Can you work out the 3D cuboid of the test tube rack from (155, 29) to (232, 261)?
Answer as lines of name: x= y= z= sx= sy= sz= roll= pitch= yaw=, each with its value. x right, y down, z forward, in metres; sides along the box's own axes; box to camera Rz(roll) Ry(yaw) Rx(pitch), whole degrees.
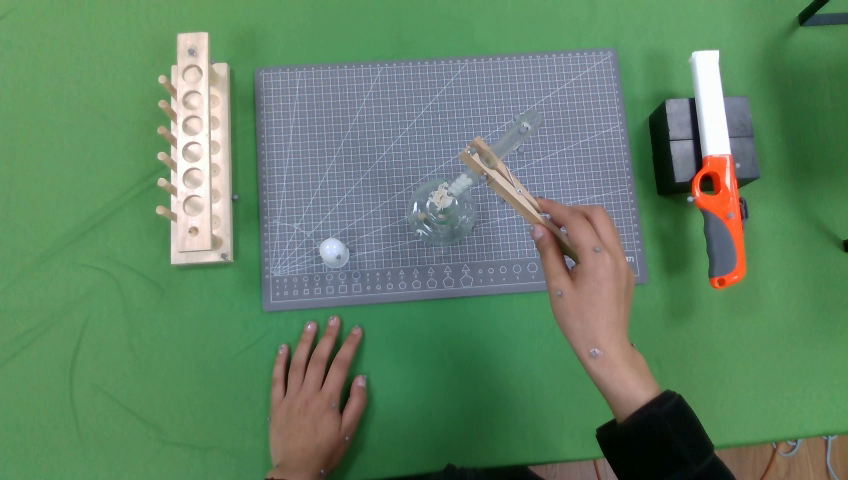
test tube rack: x=-0.262 y=-0.103 z=0.679 sx=0.067 sy=0.085 sz=0.241 roll=-4 pitch=80 yaw=-2

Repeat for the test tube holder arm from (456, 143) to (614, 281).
test tube holder arm: x=0.099 y=-0.022 z=0.531 sx=0.179 sy=0.015 sz=0.013 roll=41 pitch=63 yaw=-10

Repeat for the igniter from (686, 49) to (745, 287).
igniter: x=0.326 y=-0.084 z=0.684 sx=0.057 sy=0.025 sz=0.275 roll=-2 pitch=79 yaw=3

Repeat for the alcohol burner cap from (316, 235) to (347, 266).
alcohol burner cap: x=-0.106 y=0.009 z=0.685 sx=0.034 sy=0.048 sz=0.033 roll=0 pitch=79 yaw=-2

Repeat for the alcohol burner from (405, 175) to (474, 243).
alcohol burner: x=0.017 y=-0.037 z=0.663 sx=0.078 sy=0.119 sz=0.077 roll=0 pitch=81 yaw=-1

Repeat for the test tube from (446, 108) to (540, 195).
test tube: x=0.054 y=-0.070 z=0.516 sx=0.017 sy=0.150 sz=0.017 roll=7 pitch=70 yaw=-21

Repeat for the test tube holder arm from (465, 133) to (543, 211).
test tube holder arm: x=0.070 y=-0.056 z=0.527 sx=0.088 sy=0.015 sz=0.010 roll=48 pitch=62 yaw=-6
